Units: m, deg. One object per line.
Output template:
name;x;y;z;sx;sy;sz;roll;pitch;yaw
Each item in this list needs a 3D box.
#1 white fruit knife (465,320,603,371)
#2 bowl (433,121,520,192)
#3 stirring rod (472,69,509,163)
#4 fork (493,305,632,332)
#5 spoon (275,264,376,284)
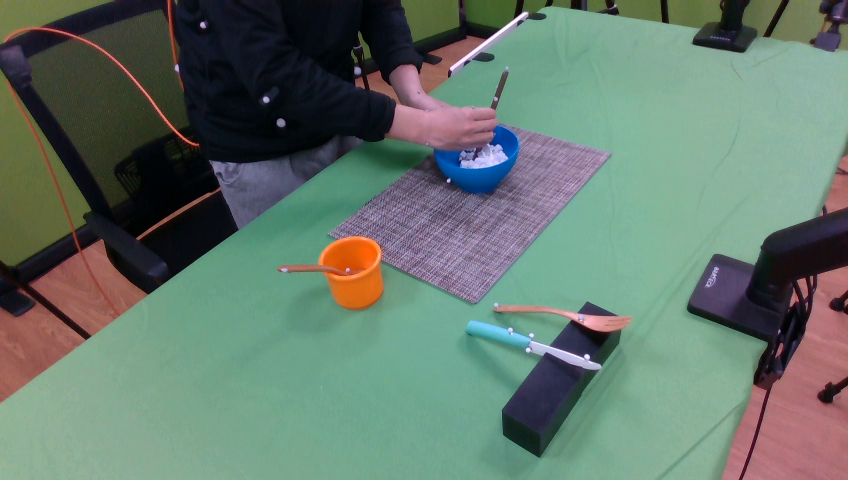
white fruit knife;0.128;0.129;0.749;0.205;0.027;0.016;10;45;43
bowl;0.094;-0.137;1.064;0.151;0.077;0.150;-4;41;4
stirring rod;0.114;-0.211;1.047;0.006;0.176;0.014;34;35;23
fork;0.171;0.097;0.783;0.205;0.019;0.028;4;41;43
spoon;-0.133;0.044;0.839;0.041;0.195;0.021;24;94;33
